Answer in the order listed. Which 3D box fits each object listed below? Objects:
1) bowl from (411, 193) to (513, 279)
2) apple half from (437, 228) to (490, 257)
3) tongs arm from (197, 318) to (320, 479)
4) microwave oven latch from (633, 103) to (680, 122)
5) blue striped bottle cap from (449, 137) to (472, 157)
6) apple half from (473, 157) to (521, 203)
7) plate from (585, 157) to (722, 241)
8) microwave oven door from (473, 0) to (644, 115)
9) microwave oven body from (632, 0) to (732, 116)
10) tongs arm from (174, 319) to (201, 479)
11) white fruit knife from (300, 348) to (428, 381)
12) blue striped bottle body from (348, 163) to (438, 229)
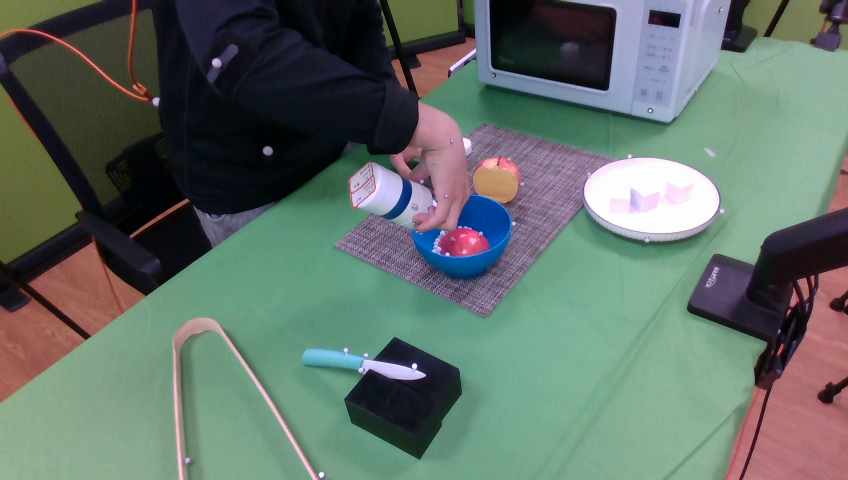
[{"bbox_3d":[0.058,0.005,0.905,0.151,0.077,0.150,-4,40,4],"label":"bowl"},{"bbox_3d":[0.056,0.002,0.901,0.081,0.033,0.081,-2,41,3],"label":"apple half"},{"bbox_3d":[-0.199,0.207,0.751,0.028,0.028,0.384,-31,45,-22],"label":"tongs arm"},{"bbox_3d":[0.444,-0.249,1.158,0.078,0.029,0.030,21,49,30],"label":"microwave oven latch"},{"bbox_3d":[0.071,-0.180,1.168,0.044,0.021,0.044,-4,42,4],"label":"blue striped bottle cap"},{"bbox_3d":[0.128,-0.107,1.030,0.080,0.075,0.053,5,38,20],"label":"apple half"},{"bbox_3d":[0.367,-0.063,0.979,0.207,0.039,0.206,-4,40,4],"label":"plate"},{"bbox_3d":[0.257,-0.396,1.199,0.353,0.245,0.039,21,48,29],"label":"microwave oven door"},{"bbox_3d":[0.377,-0.463,1.267,0.438,0.261,0.327,21,49,30],"label":"microwave oven body"},{"bbox_3d":[-0.272,0.234,0.723,0.051,0.026,0.381,-18,40,-15],"label":"tongs arm"},{"bbox_3d":[-0.080,0.154,0.748,0.206,0.027,0.016,1,20,35],"label":"white fruit knife"},{"bbox_3d":[-0.036,-0.054,0.811,0.122,0.063,0.062,21,21,-41],"label":"blue striped bottle body"}]
